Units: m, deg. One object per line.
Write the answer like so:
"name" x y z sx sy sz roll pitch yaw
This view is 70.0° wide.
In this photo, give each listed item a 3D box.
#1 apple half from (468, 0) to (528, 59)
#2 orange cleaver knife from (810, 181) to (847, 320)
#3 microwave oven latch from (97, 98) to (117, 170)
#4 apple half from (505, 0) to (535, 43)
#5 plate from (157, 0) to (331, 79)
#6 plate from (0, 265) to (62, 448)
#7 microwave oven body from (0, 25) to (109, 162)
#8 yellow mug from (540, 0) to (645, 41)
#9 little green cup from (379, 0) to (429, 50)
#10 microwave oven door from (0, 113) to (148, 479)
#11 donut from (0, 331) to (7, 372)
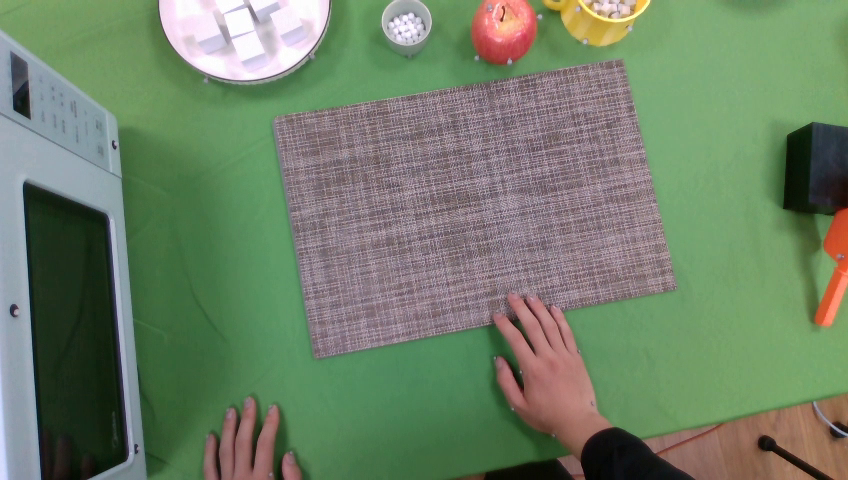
"apple half" 0.082 -0.256 0.741 0.053 0.074 0.081 -37 90 -2
"orange cleaver knife" 0.501 -0.005 0.723 0.012 0.076 0.212 9 115 1
"microwave oven latch" -0.376 -0.122 0.702 0.030 0.029 0.079 -6 84 -4
"apple half" 0.114 -0.279 0.744 0.033 0.081 0.081 -38 86 -2
"plate" -0.217 -0.294 0.749 0.208 0.039 0.207 0 83 -3
"plate" -0.478 0.122 0.624 0.209 0.038 0.208 0 84 -4
"microwave oven body" -0.495 0.059 0.579 0.326 0.260 0.440 -8 84 -4
"yellow mug" 0.207 -0.310 0.757 0.131 0.064 0.099 0 83 -2
"little green cup" -0.025 -0.270 0.755 0.061 0.039 0.061 0 83 -2
"microwave oven door" -0.344 0.081 0.578 0.039 0.244 0.354 -8 83 -3
"donut" -0.476 0.117 0.611 0.099 0.048 0.099 0 85 -2
